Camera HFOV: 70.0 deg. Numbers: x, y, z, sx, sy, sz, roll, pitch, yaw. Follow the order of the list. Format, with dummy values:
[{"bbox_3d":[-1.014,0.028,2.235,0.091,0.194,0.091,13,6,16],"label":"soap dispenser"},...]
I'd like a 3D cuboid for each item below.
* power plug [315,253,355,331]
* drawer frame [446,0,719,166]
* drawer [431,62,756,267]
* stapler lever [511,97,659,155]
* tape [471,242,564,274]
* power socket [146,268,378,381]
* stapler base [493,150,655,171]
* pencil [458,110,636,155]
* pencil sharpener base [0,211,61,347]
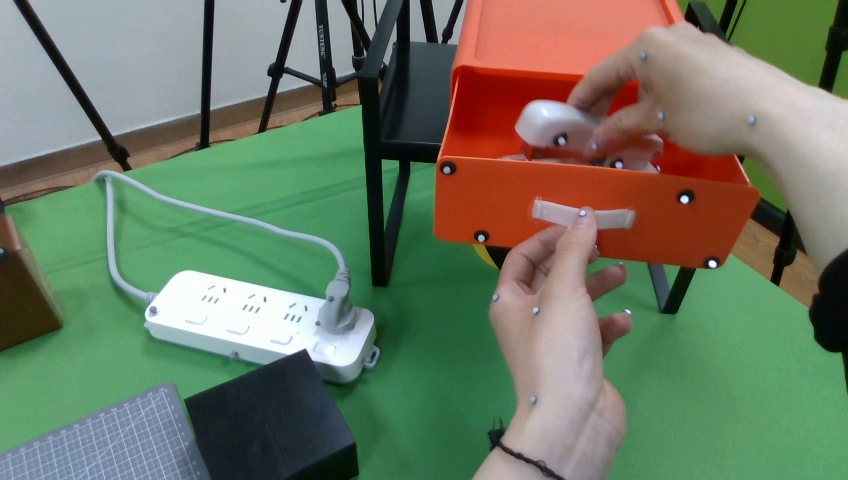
[{"bbox_3d":[-0.074,0.056,0.565,0.035,0.053,0.072,19,46,18],"label":"power plug"},{"bbox_3d":[0.128,-0.163,0.544,0.201,0.083,0.211,5,42,3],"label":"drawer frame"},{"bbox_3d":[0.114,-0.082,0.459,0.194,0.074,0.210,6,42,4],"label":"drawer"},{"bbox_3d":[0.117,-0.080,0.430,0.118,0.040,0.026,-5,43,-20],"label":"stapler lever"},{"bbox_3d":[0.109,-0.021,0.677,0.117,0.053,0.115,2,44,-1],"label":"tape"},{"bbox_3d":[-0.153,0.077,0.573,0.226,0.033,0.071,11,42,10],"label":"power socket"},{"bbox_3d":[0.112,-0.060,0.445,0.131,0.024,0.041,-5,43,-20],"label":"stapler base"},{"bbox_3d":[0.096,-0.084,0.490,0.194,0.012,0.012,-16,45,-23],"label":"pencil"},{"bbox_3d":[-0.392,0.040,0.547,0.077,0.108,0.060,-25,49,-26],"label":"pencil sharpener base"}]
